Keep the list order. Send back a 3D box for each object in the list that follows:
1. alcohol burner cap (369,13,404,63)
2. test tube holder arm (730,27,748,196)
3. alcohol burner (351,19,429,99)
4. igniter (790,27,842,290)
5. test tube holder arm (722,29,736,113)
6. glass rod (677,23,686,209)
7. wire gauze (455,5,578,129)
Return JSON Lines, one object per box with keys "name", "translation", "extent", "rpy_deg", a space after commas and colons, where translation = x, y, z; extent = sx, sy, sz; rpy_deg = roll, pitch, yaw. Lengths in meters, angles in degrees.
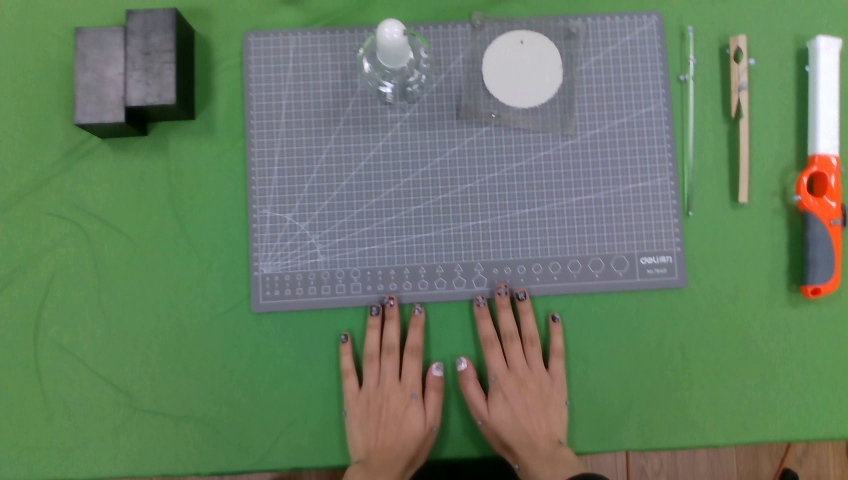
{"name": "alcohol burner cap", "translation": [-0.035, -0.187, 0.552], "extent": [0.034, 0.048, 0.033], "rpy_deg": [0, 79, -1]}
{"name": "test tube holder arm", "translation": [0.331, -0.135, 0.637], "extent": [0.013, 0.015, 0.178], "rpy_deg": [-5, 84, 35]}
{"name": "alcohol burner", "translation": [-0.035, -0.182, 0.587], "extent": [0.078, 0.119, 0.077], "rpy_deg": [0, 85, 2]}
{"name": "igniter", "translation": [0.408, -0.085, 0.631], "extent": [0.057, 0.025, 0.276], "rpy_deg": [4, 85, -11]}
{"name": "test tube holder arm", "translation": [0.325, -0.180, 0.644], "extent": [0.010, 0.015, 0.087], "rpy_deg": [-4, 85, 35]}
{"name": "glass rod", "translation": [0.274, -0.132, 0.642], "extent": [0.008, 0.008, 0.199], "rpy_deg": [2, 88, -1]}
{"name": "wire gauze", "translation": [0.099, -0.186, 0.643], "extent": [0.125, 0.011, 0.121], "rpy_deg": [8, 86, -1]}
